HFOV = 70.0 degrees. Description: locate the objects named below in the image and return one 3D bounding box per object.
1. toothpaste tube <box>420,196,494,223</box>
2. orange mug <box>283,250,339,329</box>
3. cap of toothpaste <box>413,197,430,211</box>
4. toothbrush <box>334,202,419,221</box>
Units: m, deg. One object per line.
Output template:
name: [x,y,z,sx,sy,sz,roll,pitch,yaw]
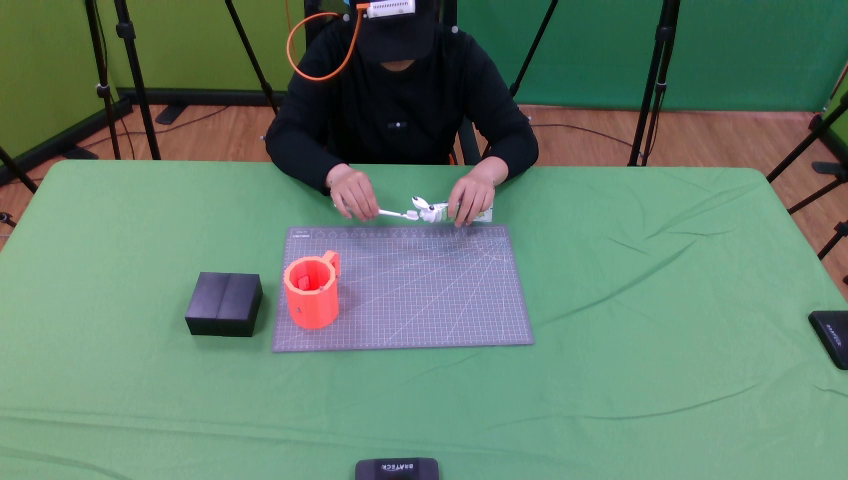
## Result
toothpaste tube: [0.066,-0.057,1.187,0.165,0.055,0.034,-4,23,-28]
orange mug: [-0.186,0.079,1.052,0.083,0.101,0.126,20,52,15]
cap of toothpaste: [-0.007,-0.066,1.133,0.037,0.011,0.037,25,31,-16]
toothbrush: [-0.095,-0.058,1.172,0.181,0.017,0.014,10,44,21]
